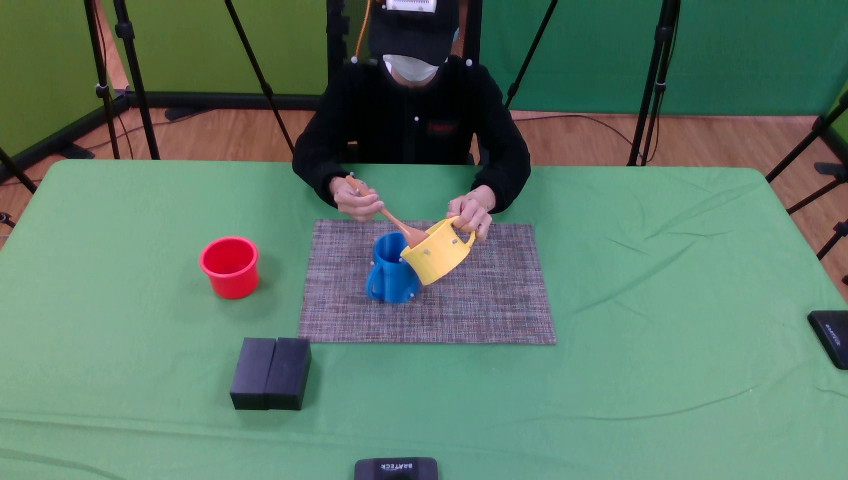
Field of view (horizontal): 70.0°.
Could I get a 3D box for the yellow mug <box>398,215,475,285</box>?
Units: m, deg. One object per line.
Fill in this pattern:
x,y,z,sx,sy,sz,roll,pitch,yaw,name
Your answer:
0.028,0.009,1.002,0.131,0.100,0.064,-38,97,-10,yellow mug

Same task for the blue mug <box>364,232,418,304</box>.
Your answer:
-0.063,0.059,1.073,0.082,0.106,0.116,35,53,27,blue mug

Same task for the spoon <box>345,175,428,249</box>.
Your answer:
-0.057,-0.037,0.984,0.194,0.021,0.041,42,85,0,spoon
